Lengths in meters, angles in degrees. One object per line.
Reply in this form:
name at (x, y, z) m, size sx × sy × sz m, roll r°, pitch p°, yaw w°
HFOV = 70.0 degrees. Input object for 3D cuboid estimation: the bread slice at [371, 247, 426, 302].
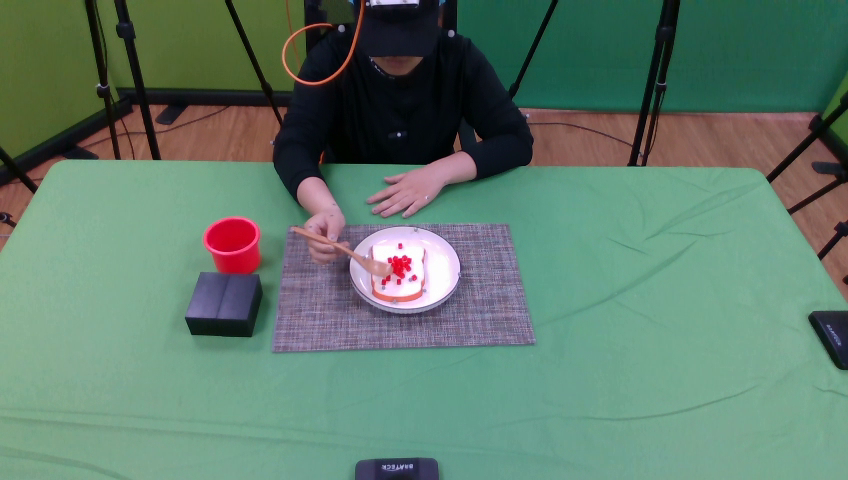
bread slice at (-0.047, 0.061, 1.124) m, size 0.105 × 0.019 × 0.130 m, roll 0°, pitch 45°, yaw -3°

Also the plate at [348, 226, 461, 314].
plate at (-0.035, 0.058, 1.123) m, size 0.209 × 0.038 × 0.208 m, roll 2°, pitch 46°, yaw -2°

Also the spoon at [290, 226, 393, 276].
spoon at (-0.142, 0.017, 1.059) m, size 0.194 × 0.022 × 0.041 m, roll 28°, pitch 35°, yaw -17°
